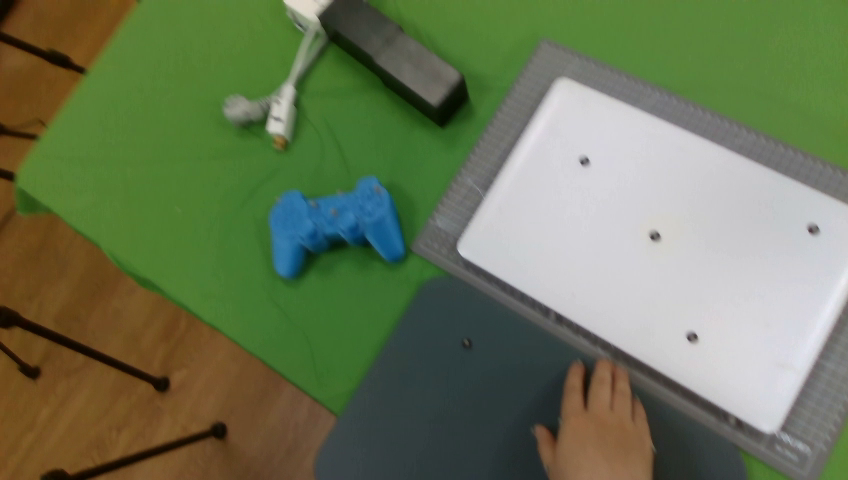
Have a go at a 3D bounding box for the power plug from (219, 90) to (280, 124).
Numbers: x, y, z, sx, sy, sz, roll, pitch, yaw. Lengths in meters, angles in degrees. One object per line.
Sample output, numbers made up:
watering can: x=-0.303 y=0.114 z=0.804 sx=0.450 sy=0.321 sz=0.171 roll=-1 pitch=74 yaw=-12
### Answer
power plug: x=-0.223 y=-0.170 z=0.767 sx=0.073 sy=0.035 sz=0.052 roll=-24 pitch=38 yaw=-34

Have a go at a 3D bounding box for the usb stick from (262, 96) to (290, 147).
usb stick: x=-0.183 y=-0.145 z=0.745 sx=0.021 sy=0.027 sz=0.059 roll=9 pitch=83 yaw=5

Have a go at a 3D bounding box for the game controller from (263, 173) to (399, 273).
game controller: x=-0.110 y=-0.022 z=0.688 sx=0.155 sy=0.052 sz=0.096 roll=-8 pitch=70 yaw=8

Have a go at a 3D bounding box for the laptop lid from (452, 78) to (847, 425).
laptop lid: x=0.230 y=-0.005 z=0.619 sx=0.354 sy=0.013 sz=0.241 roll=32 pitch=85 yaw=18

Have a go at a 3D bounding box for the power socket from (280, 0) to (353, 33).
power socket: x=-0.097 y=-0.364 z=0.790 sx=0.072 sy=0.033 sz=0.226 roll=38 pitch=84 yaw=18

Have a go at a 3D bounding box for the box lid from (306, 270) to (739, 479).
box lid: x=0.083 y=0.216 z=0.603 sx=0.369 sy=0.015 sz=0.263 roll=30 pitch=82 yaw=17

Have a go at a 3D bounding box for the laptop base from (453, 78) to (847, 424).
laptop base: x=0.234 y=-0.004 z=0.630 sx=0.352 sy=0.023 sz=0.235 roll=30 pitch=85 yaw=17
